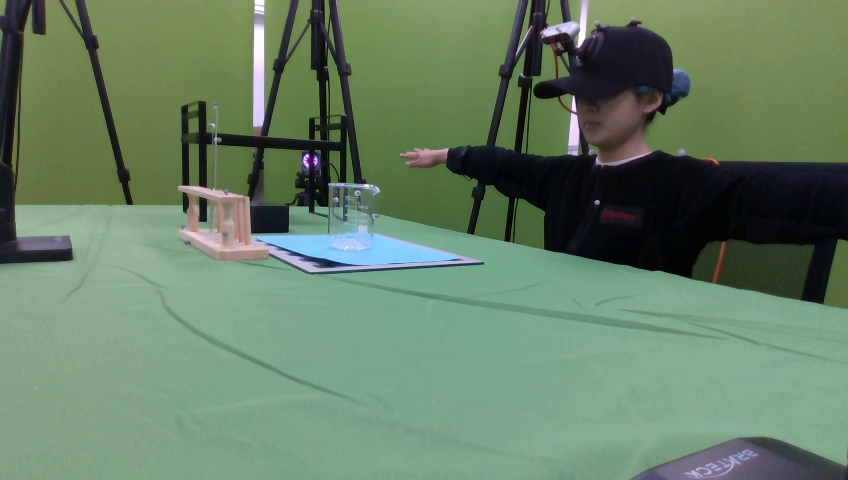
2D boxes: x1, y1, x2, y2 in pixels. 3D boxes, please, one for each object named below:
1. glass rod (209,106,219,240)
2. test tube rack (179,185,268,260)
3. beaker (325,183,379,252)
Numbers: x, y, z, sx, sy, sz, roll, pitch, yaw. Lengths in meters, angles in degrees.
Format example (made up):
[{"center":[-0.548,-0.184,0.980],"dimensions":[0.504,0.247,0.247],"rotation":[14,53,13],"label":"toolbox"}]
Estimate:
[{"center":[-0.305,-0.096,0.878],"dimensions":[0.008,0.199,0.008],"rotation":[2,0,0],"label":"glass rod"},{"center":[-0.303,-0.031,0.898],"dimensions":[0.067,0.085,0.241],"rotation":[-2,9,-33],"label":"test tube rack"},{"center":[-0.109,-0.035,0.921],"dimensions":[0.084,0.100,0.074],"rotation":[5,8,15],"label":"beaker"}]
